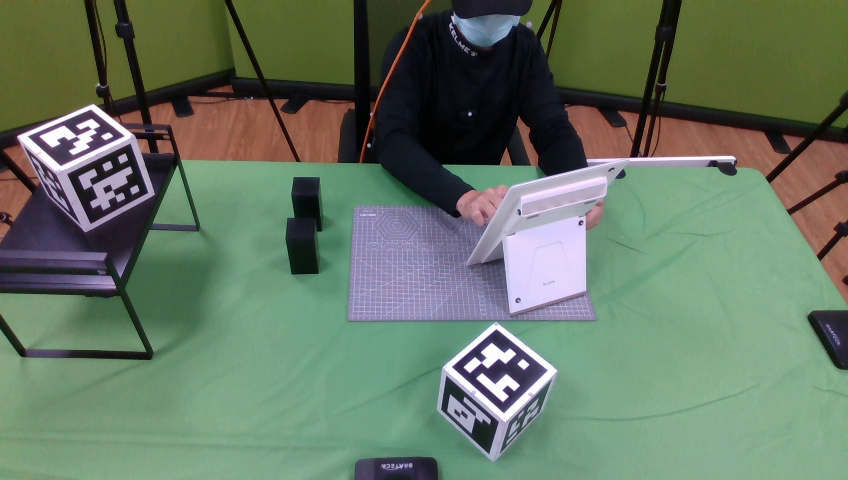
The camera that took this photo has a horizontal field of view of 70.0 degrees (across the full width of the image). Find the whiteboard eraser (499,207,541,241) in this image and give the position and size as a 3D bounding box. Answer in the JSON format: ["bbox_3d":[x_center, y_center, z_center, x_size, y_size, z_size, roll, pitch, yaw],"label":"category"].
[{"bbox_3d":[0.173,-0.030,1.099,0.041,0.101,0.018,-9,67,-35],"label":"whiteboard eraser"}]

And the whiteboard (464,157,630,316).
[{"bbox_3d":[0.224,0.015,1.042,0.217,0.306,0.143,-13,68,-17],"label":"whiteboard"}]
